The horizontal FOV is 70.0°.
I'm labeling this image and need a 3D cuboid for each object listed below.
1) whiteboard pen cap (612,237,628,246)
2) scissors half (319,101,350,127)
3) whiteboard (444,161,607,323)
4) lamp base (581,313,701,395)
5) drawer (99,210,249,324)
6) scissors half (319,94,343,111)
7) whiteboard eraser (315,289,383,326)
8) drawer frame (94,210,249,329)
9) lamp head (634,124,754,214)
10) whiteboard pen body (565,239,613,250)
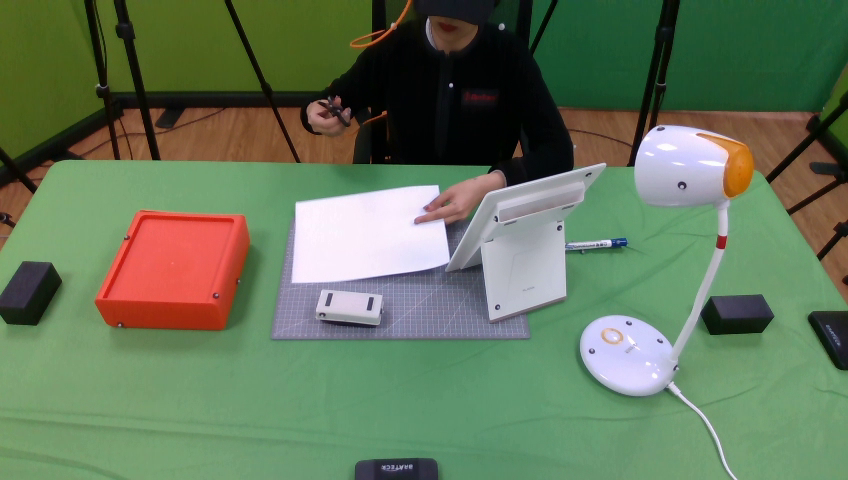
[{"bbox_3d":[0.390,0.004,1.215,0.033,0.018,0.018,-7,47,-2],"label":"whiteboard pen cap"},{"bbox_3d":[-0.180,-0.258,1.220,0.013,0.175,0.040,-32,83,8],"label":"scissors half"},{"bbox_3d":[0.186,0.025,1.029,0.217,0.306,0.143,-14,68,-18],"label":"whiteboard"},{"bbox_3d":[0.361,0.144,0.972,0.178,0.181,0.160,34,53,23],"label":"lamp base"},{"bbox_3d":[-0.435,0.044,1.081,0.194,0.073,0.210,3,47,-2],"label":"drawer"},{"bbox_3d":[-0.190,-0.275,1.219,0.013,0.040,0.175,-27,10,8],"label":"scissors half"},{"bbox_3d":[-0.130,0.119,1.054,0.113,0.042,0.055,6,47,1],"label":"whiteboard eraser"},{"bbox_3d":[-0.435,0.048,1.076,0.202,0.083,0.212,2,47,-3],"label":"drawer frame"},{"bbox_3d":[0.351,-0.089,0.775,0.112,0.113,0.122,-30,30,-28],"label":"lamp head"},{"bbox_3d":[0.331,0.008,1.211,0.141,0.017,0.017,-5,47,-4],"label":"whiteboard pen body"}]
